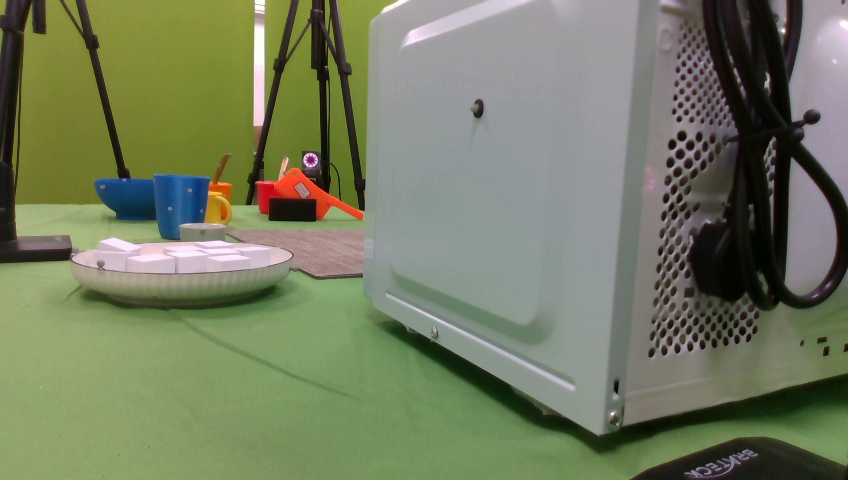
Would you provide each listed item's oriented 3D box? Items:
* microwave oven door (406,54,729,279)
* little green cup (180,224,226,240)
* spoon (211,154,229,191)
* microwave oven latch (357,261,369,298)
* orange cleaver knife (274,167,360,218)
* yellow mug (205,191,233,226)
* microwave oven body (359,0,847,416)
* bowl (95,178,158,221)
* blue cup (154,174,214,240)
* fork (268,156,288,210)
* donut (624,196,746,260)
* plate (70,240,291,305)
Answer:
[{"bbox_3d":[0.162,-0.082,0.698,0.356,0.243,0.039,2,8,-1],"label":"microwave oven door"},{"bbox_3d":[-0.309,-0.001,0.846,0.061,0.038,0.061,2,8,0],"label":"little green cup"},{"bbox_3d":[-0.431,-0.115,1.253,0.042,0.193,0.021,-3,54,-33],"label":"spoon"},{"bbox_3d":[-0.019,0.033,0.530,0.079,0.029,0.030,0,7,-25],"label":"microwave oven latch"},{"bbox_3d":[-0.238,-0.091,1.381,0.212,0.077,0.012,31,0,-19],"label":"orange cleaver knife"},{"bbox_3d":[-0.415,-0.057,1.132,0.130,0.064,0.100,6,8,16],"label":"yellow mug"},{"bbox_3d":[0.211,-0.047,0.474,0.444,0.260,0.324,-1,7,-28],"label":"microwave oven body"},{"bbox_3d":[-0.576,-0.081,1.217,0.151,0.077,0.151,3,8,0],"label":"bowl"},{"bbox_3d":[-0.391,-0.053,0.978,0.093,0.100,0.092,3,6,0],"label":"blue cup"},{"bbox_3d":[-0.360,-0.144,1.508,0.028,0.018,0.207,1,49,0],"label":"fork"},{"bbox_3d":[0.222,-0.009,0.520,0.099,0.048,0.099,11,11,-2],"label":"donut"},{"bbox_3d":[-0.242,0.031,0.618,0.208,0.039,0.207,2,8,0],"label":"plate"}]
